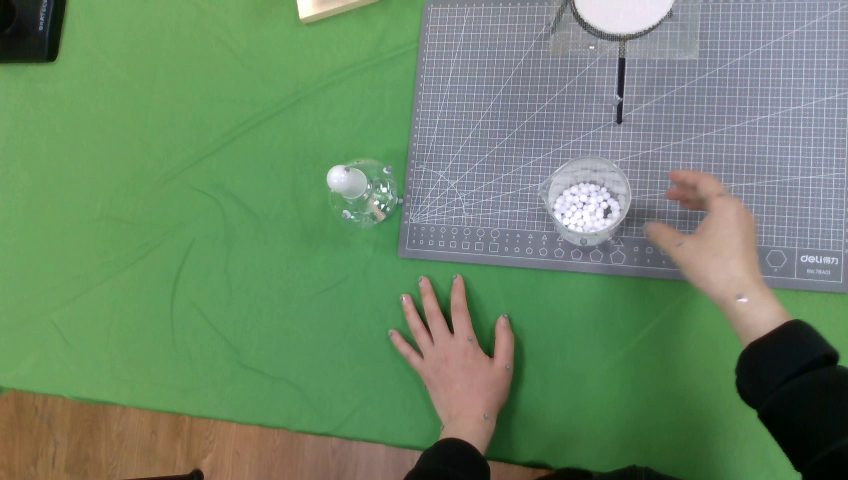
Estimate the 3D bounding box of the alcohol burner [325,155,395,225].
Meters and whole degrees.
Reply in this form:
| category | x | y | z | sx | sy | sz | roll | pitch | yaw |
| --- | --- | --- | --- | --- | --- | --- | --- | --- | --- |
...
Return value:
| category | x | y | z | sx | sy | sz | roll | pitch | yaw |
| --- | --- | --- | --- | --- | --- | --- | --- | --- | --- |
| alcohol burner | -0.073 | -0.057 | 0.641 | 0.078 | 0.120 | 0.077 | -2 | 80 | 12 |

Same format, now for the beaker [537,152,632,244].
| category | x | y | z | sx | sy | sz | roll | pitch | yaw |
| --- | --- | --- | --- | --- | --- | --- | --- | --- | --- |
| beaker | 0.154 | -0.036 | 0.589 | 0.083 | 0.101 | 0.074 | 11 | 85 | 15 |

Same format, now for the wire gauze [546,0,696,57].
| category | x | y | z | sx | sy | sz | roll | pitch | yaw |
| --- | --- | --- | --- | --- | --- | --- | --- | --- | --- |
| wire gauze | 0.169 | -0.216 | 0.519 | 0.125 | 0.011 | 0.121 | 4 | 86 | 14 |

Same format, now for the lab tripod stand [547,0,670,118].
| category | x | y | z | sx | sy | sz | roll | pitch | yaw |
| --- | --- | --- | --- | --- | --- | --- | --- | --- | --- |
| lab tripod stand | 0.184 | -0.207 | 0.584 | 0.148 | 0.132 | 0.148 | -1 | 84 | 12 |

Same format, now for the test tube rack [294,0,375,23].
| category | x | y | z | sx | sy | sz | roll | pitch | yaw |
| --- | --- | --- | --- | --- | --- | --- | --- | --- | --- |
| test tube rack | -0.050 | -0.328 | 0.682 | 0.242 | 0.085 | 0.066 | -13 | 80 | 11 |

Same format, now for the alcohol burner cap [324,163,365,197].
| category | x | y | z | sx | sy | sz | roll | pitch | yaw |
| --- | --- | --- | --- | --- | --- | --- | --- | --- | --- |
| alcohol burner cap | -0.082 | -0.062 | 0.606 | 0.034 | 0.048 | 0.034 | -1 | 86 | 13 |
